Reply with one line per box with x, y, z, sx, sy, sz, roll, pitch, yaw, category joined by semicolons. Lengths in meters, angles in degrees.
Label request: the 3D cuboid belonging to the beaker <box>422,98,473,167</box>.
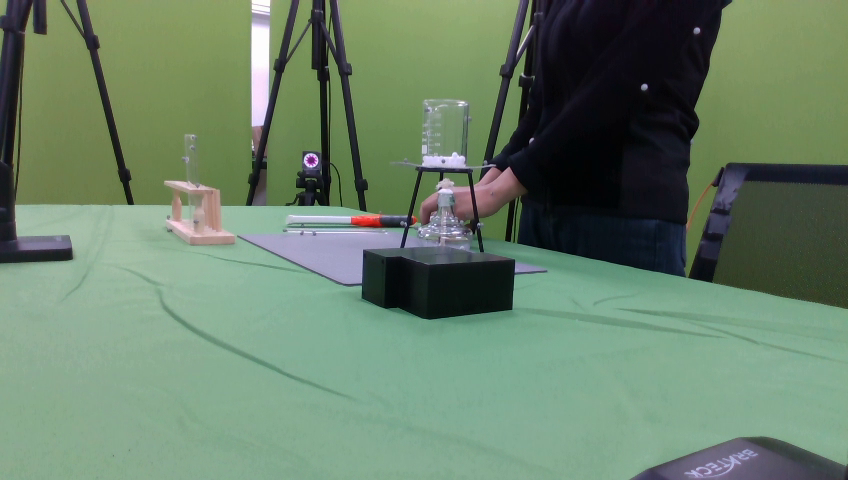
0.031;-0.162;0.919;0.074;0.100;0.083;-4;10;-36;beaker

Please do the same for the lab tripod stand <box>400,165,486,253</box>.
0.027;-0.049;0.930;0.148;0.131;0.148;2;9;0;lab tripod stand

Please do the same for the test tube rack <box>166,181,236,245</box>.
-0.383;-0.051;1.024;0.067;0.085;0.241;-2;9;-31;test tube rack

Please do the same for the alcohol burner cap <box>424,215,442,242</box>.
0.017;-0.022;1.099;0.034;0.048;0.034;3;8;0;alcohol burner cap

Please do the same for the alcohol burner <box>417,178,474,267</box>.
0.029;-0.024;0.810;0.078;0.119;0.078;1;8;0;alcohol burner

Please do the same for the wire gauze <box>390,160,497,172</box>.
0.027;-0.114;0.920;0.122;0.011;0.124;-5;13;-34;wire gauze

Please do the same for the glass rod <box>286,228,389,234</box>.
-0.154;-0.016;1.101;0.201;0.008;0.008;1;6;-31;glass rod

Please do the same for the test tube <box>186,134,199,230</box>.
-0.360;-0.089;0.946;0.017;0.150;0.017;0;10;0;test tube

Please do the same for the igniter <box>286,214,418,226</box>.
-0.146;-0.043;1.263;0.278;0.025;0.057;-1;-2;-24;igniter
